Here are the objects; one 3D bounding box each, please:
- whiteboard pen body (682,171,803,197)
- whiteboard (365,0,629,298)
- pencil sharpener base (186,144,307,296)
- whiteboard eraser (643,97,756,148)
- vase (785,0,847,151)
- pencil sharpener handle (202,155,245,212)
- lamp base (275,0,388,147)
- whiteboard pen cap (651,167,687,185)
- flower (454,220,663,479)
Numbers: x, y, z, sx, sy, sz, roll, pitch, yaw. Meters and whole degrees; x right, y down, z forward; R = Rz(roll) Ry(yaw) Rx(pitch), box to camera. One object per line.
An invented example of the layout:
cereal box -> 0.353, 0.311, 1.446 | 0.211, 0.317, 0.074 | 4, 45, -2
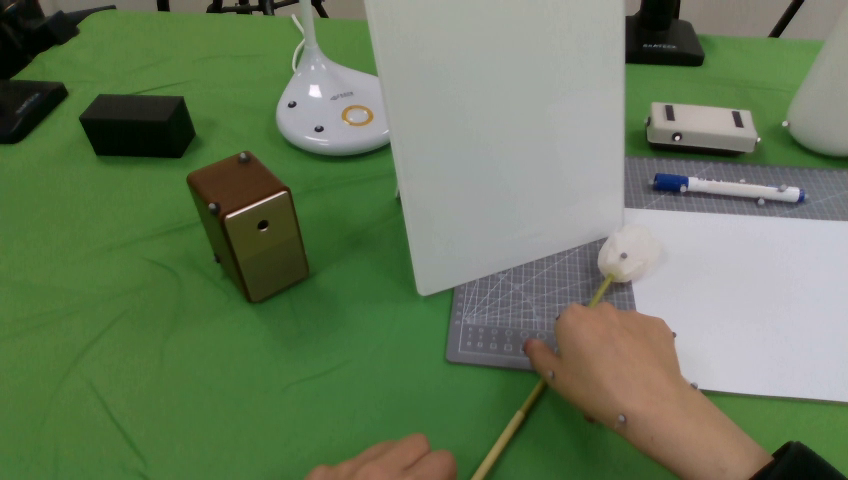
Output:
whiteboard pen body -> 0.313, -0.059, 0.623 | 0.140, 0.017, 0.017 | 7, 45, 8
whiteboard -> 0.051, -0.139, 0.547 | 0.217, 0.308, 0.142 | -17, 28, -14
pencil sharpener base -> -0.153, -0.017, 0.528 | 0.061, 0.108, 0.076 | -30, 51, -25
whiteboard eraser -> 0.307, -0.130, 0.681 | 0.112, 0.042, 0.055 | 6, 43, 8
vase -> 0.461, -0.192, 0.629 | 0.098, 0.202, 0.097 | 0, 45, 0
pencil sharpener handle -> -0.183, -0.055, 0.548 | 0.036, 0.068, 0.030 | -35, 53, -19
lamp base -> -0.107, -0.223, 0.681 | 0.160, 0.182, 0.177 | -32, 50, -27
whiteboard pen cap -> 0.255, -0.065, 0.631 | 0.033, 0.018, 0.018 | 9, 46, 6
flower -> 0.091, 0.101, 0.471 | 0.043, 0.038, 0.361 | 32, 58, 22
